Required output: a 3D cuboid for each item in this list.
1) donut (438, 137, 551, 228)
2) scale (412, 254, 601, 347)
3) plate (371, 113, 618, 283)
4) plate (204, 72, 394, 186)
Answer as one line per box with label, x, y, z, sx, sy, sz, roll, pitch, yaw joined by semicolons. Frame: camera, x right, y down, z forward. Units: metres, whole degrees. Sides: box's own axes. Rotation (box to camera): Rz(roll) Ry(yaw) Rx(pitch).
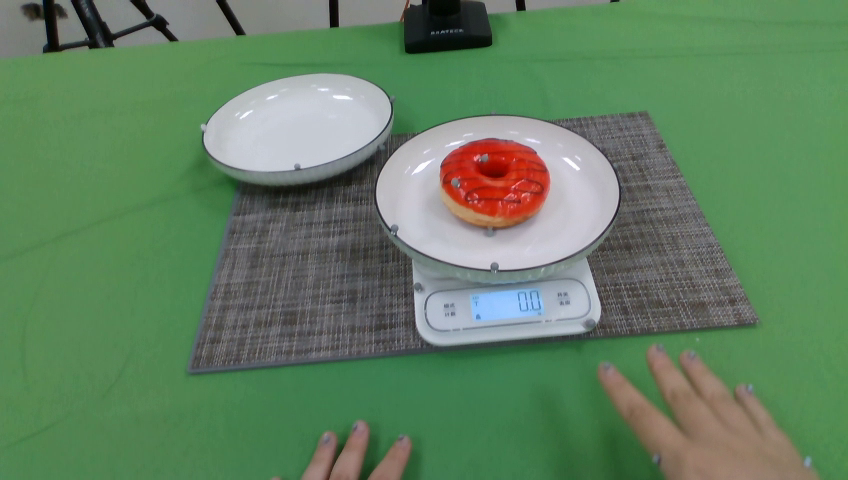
donut;0.061;-0.050;0.523;0.099;0.049;0.098;-1;46;1
scale;0.063;0.002;0.535;0.149;0.032;0.199;-5;45;1
plate;0.059;-0.037;0.528;0.207;0.039;0.205;-2;45;3
plate;-0.136;-0.122;0.677;0.209;0.038;0.207;-3;43;4
